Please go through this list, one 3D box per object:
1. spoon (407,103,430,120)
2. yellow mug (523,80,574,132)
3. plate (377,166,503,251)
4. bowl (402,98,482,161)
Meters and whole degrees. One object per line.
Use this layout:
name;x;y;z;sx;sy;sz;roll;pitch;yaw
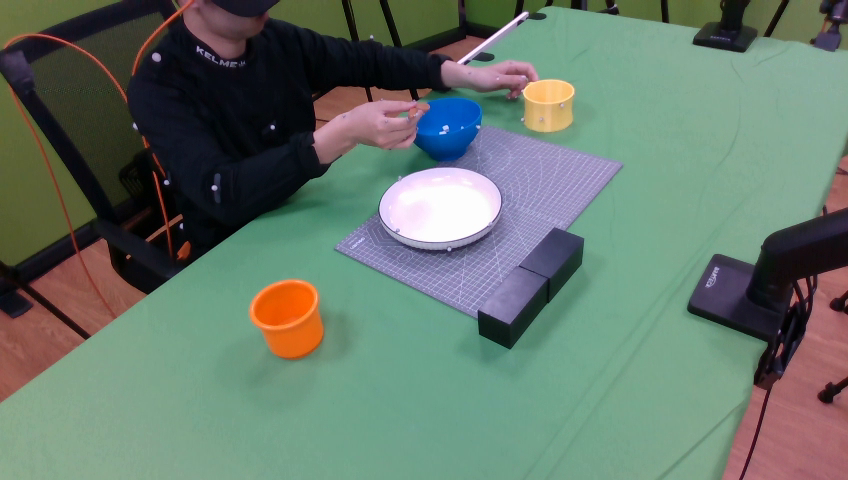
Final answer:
spoon;-0.016;-0.223;1.045;0.041;0.021;0.193;-7;14;7
yellow mug;0.242;-0.278;1.224;0.100;0.064;0.129;-24;42;-18
plate;0.027;-0.050;1.007;0.209;0.038;0.208;-4;41;4
bowl;0.040;-0.203;1.155;0.151;0.077;0.150;-7;37;6
